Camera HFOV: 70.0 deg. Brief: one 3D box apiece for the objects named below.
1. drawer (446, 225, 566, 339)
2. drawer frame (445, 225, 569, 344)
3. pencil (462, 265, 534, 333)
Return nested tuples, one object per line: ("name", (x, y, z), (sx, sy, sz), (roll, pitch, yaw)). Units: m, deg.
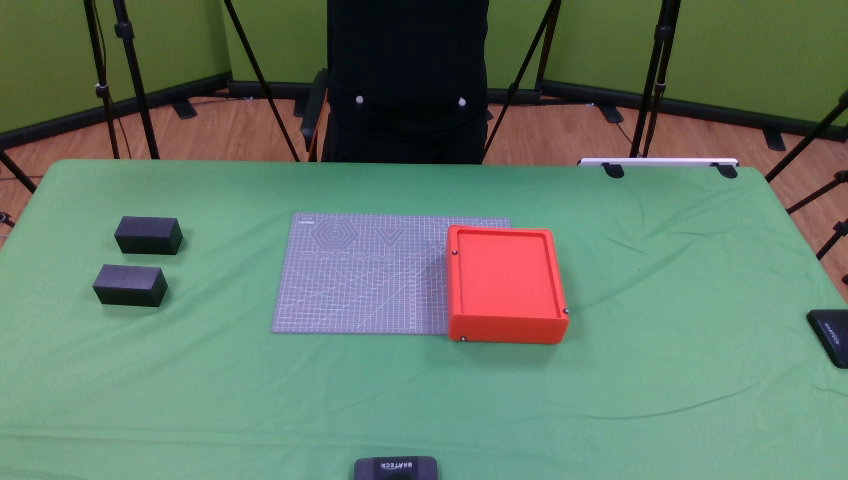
("drawer", (0.139, 0.073, 1.094), (0.194, 0.073, 0.210), (3, 47, -3))
("drawer frame", (0.141, 0.076, 1.089), (0.202, 0.083, 0.212), (3, 47, -4))
("pencil", (0.130, 0.104, 1.098), (0.012, 0.012, 0.193), (-26, 51, -27))
